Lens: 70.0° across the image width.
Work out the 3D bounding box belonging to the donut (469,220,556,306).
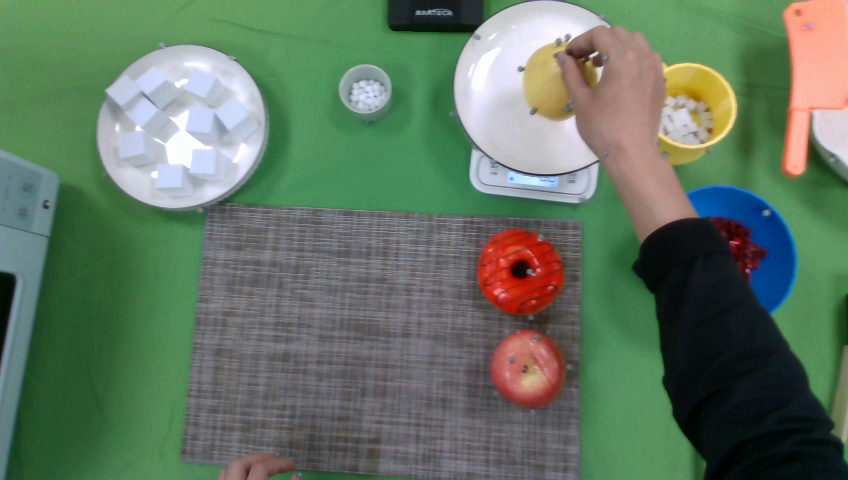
[{"bbox_3d":[0.100,0.026,0.687,0.099,0.048,0.098,-1,81,5],"label":"donut"}]

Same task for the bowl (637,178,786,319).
[{"bbox_3d":[0.302,0.013,0.668,0.151,0.077,0.151,0,83,3],"label":"bowl"}]

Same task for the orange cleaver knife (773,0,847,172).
[{"bbox_3d":[0.418,-0.175,0.658,0.077,0.012,0.210,8,83,6],"label":"orange cleaver knife"}]

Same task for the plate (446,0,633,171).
[{"bbox_3d":[0.130,-0.177,0.692,0.209,0.038,0.208,0,82,2],"label":"plate"}]

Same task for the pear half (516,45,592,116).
[{"bbox_3d":[0.134,-0.160,0.612,0.076,0.110,0.056,-10,82,6],"label":"pear half"}]

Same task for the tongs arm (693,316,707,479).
[{"bbox_3d":[0.317,0.273,0.652,0.051,0.026,0.383,3,83,-2],"label":"tongs arm"}]

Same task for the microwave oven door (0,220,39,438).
[{"bbox_3d":[-0.497,0.142,0.582,0.039,0.244,0.354,5,82,4],"label":"microwave oven door"}]

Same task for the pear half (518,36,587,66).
[{"bbox_3d":[0.130,-0.194,0.626,0.070,0.088,0.031,-11,82,5],"label":"pear half"}]

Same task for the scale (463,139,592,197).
[{"bbox_3d":[0.130,-0.157,0.723,0.148,0.031,0.200,7,83,4],"label":"scale"}]

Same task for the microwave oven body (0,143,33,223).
[{"bbox_3d":[-0.637,0.087,0.601,0.326,0.261,0.440,6,83,3],"label":"microwave oven body"}]

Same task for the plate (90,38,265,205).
[{"bbox_3d":[-0.293,-0.141,0.736,0.207,0.039,0.207,0,82,2],"label":"plate"}]

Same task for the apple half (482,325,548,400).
[{"bbox_3d":[0.091,0.138,0.657,0.053,0.075,0.080,-33,84,1],"label":"apple half"}]

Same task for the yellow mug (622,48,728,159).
[{"bbox_3d":[0.278,-0.164,0.700,0.100,0.064,0.130,-29,81,-1],"label":"yellow mug"}]

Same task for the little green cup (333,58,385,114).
[{"bbox_3d":[-0.076,-0.183,0.732,0.061,0.039,0.061,0,81,3],"label":"little green cup"}]

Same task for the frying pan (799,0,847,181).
[{"bbox_3d":[0.596,-0.084,0.655,0.307,0.103,0.484,-24,73,0],"label":"frying pan"}]

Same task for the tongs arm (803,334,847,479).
[{"bbox_3d":[0.402,0.286,0.651,0.028,0.028,0.386,18,83,-3],"label":"tongs arm"}]

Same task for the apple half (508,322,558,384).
[{"bbox_3d":[0.124,0.116,0.657,0.033,0.081,0.081,-35,81,1],"label":"apple half"}]

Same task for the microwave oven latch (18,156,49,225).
[{"bbox_3d":[-0.467,-0.059,0.712,0.030,0.029,0.079,8,83,3],"label":"microwave oven latch"}]
